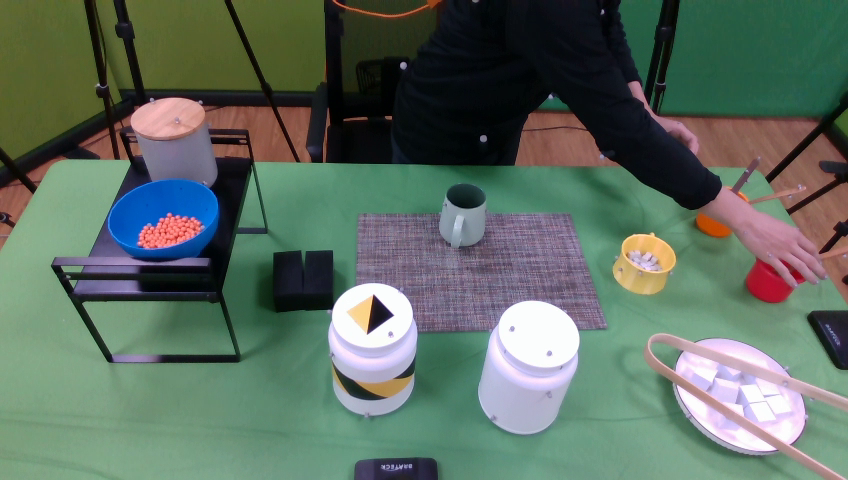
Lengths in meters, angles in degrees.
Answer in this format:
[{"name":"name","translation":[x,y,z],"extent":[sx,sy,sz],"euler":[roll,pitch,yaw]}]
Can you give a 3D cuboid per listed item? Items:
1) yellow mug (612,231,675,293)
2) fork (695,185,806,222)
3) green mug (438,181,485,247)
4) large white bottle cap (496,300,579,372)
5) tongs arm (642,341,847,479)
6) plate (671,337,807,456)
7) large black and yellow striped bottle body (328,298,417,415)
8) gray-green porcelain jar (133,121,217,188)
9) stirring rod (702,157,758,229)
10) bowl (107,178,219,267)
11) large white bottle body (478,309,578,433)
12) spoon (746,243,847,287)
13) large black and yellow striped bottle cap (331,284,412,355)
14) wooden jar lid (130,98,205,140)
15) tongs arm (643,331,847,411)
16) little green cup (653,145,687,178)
[{"name":"yellow mug","translation":[0.424,0.033,1.168],"extent":[0.100,0.064,0.130],"euler":[18,47,13]},{"name":"fork","translation":[0.658,-0.074,1.229],"extent":[0.207,0.019,0.028],"euler":[-23,36,37]},{"name":"green mug","translation":[0.071,-0.039,1.177],"extent":[0.092,0.105,0.124],"euler":[12,47,7]},{"name":"large white bottle cap","translation":[0.160,0.133,0.852],"extent":[0.115,0.018,0.114],"euler":[3,46,-2]},{"name":"tongs arm","translation":[0.504,0.278,0.918],"extent":[0.386,0.028,0.028],"euler":[34,59,22]},{"name":"plate","translation":[0.504,0.254,0.984],"extent":[0.208,0.039,0.206],"euler":[2,46,-2]},{"name":"large black and yellow striped bottle body","translation":[-0.078,0.167,0.920],"extent":[0.131,0.185,0.130],"euler":[2,46,-2]},{"name":"gray-green porcelain jar","translation":[-0.397,-0.141,0.980],"extent":[0.106,0.127,0.105],"euler":[2,47,-2]},{"name":"stirring rod","translation":[0.634,-0.097,1.257],"extent":[0.014,0.006,0.176],"euler":[38,97,29]},{"name":"bowl","translation":[-0.374,-0.014,0.893],"extent":[0.151,0.077,0.150],"euler":[2,46,-2]},{"name":"large white bottle body","translation":[0.156,0.192,0.913],"extent":[0.131,0.185,0.130],"euler":[2,46,-2]},{"name":"spoon","translation":[0.702,0.044,1.126],"extent":[0.194,0.022,0.041],"euler":[-29,39,30]},{"name":"large black and yellow striped bottle cap","translation":[-0.073,0.110,0.857],"extent":[0.115,0.019,0.114],"euler":[2,46,-2]},{"name":"wooden jar lid","translation":[-0.393,-0.183,0.934],"extent":[0.108,0.021,0.107],"euler":[3,44,-2]},{"name":"tongs arm","translation":[0.546,0.227,0.968],"extent":[0.384,0.026,0.050],"euler":[22,52,13]},{"name":"little green cup","translation":[0.487,-0.155,1.206],"extent":[0.061,0.039,0.061],"euler":[0,45,0]}]
